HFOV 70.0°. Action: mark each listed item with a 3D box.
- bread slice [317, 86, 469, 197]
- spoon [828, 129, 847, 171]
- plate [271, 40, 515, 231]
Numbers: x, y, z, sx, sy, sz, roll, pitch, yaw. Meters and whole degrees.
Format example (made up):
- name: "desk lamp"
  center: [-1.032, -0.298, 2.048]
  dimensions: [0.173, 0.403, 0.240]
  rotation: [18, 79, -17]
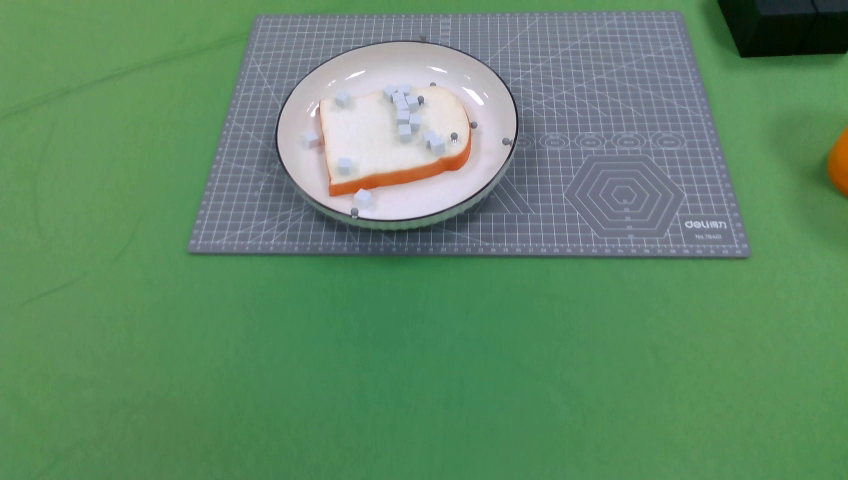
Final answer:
- name: "bread slice"
  center: [-0.028, -0.094, 0.534]
  dimensions: [0.131, 0.019, 0.104]
  rotation: [-13, 59, -4]
- name: "spoon"
  center: [0.405, -0.100, 0.445]
  dimensions: [0.193, 0.022, 0.041]
  rotation: [-24, 45, 37]
- name: "plate"
  center: [-0.026, -0.091, 0.528]
  dimensions: [0.209, 0.038, 0.207]
  rotation: [-1, 58, 2]
